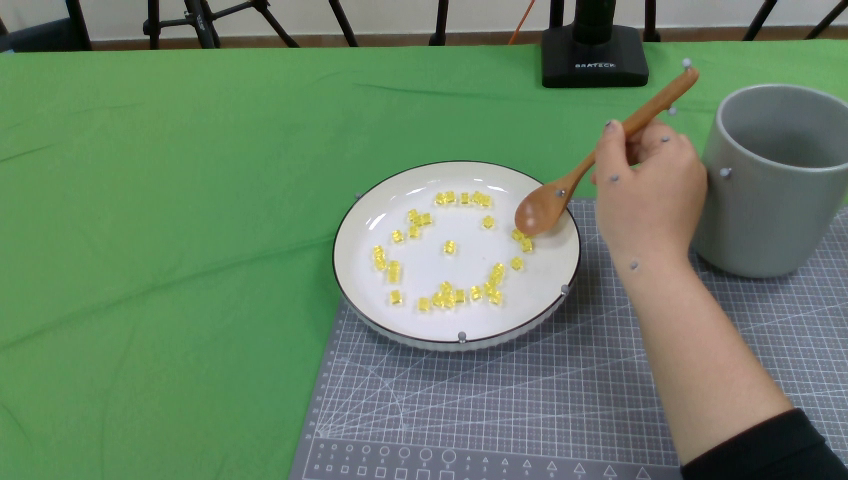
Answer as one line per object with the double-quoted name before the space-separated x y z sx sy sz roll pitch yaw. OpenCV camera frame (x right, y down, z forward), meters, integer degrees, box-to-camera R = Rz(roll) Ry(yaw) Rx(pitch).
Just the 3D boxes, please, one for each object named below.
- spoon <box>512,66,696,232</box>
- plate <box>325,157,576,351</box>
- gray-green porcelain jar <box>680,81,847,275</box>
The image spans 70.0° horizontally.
"spoon" 0.130 -0.064 0.469 0.022 0.194 0.041 6 58 -27
"plate" 0.022 0.010 0.518 0.207 0.039 0.205 -3 48 3
"gray-green porcelain jar" 0.267 -0.043 0.480 0.106 0.128 0.105 -3 48 4
